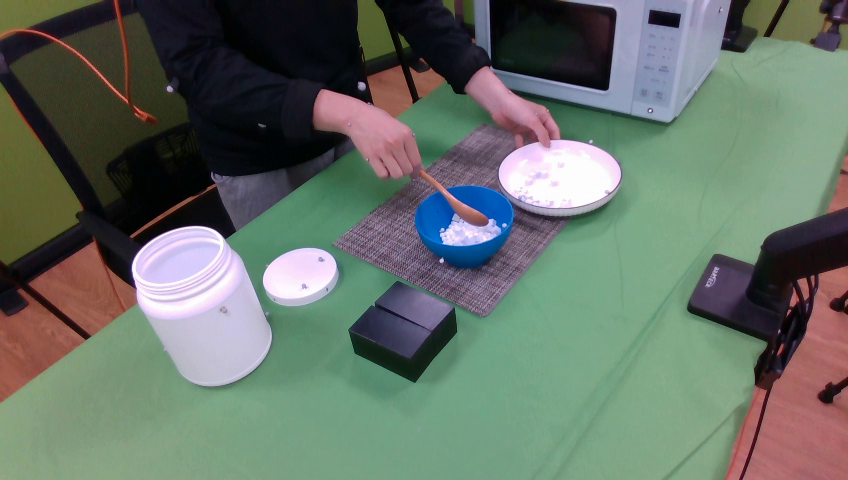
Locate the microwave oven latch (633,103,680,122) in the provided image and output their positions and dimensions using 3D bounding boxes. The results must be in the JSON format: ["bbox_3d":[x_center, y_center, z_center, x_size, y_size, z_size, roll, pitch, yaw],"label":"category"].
[{"bbox_3d":[0.443,-0.249,1.157,0.078,0.029,0.030,21,48,30],"label":"microwave oven latch"}]

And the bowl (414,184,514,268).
[{"bbox_3d":[0.063,-0.010,0.922,0.151,0.077,0.150,-4,40,4],"label":"bowl"}]

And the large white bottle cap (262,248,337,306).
[{"bbox_3d":[-0.193,0.056,0.934,0.115,0.018,0.114,-4,41,4],"label":"large white bottle cap"}]

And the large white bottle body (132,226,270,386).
[{"bbox_3d":[-0.286,0.085,0.783,0.130,0.185,0.130,-4,41,4],"label":"large white bottle body"}]

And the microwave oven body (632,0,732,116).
[{"bbox_3d":[0.377,-0.463,1.267,0.438,0.261,0.327,21,49,30],"label":"microwave oven body"}]

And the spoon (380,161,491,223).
[{"bbox_3d":[0.014,-0.073,0.904,0.193,0.042,0.021,34,92,15],"label":"spoon"}]

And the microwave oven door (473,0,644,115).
[{"bbox_3d":[0.257,-0.396,1.199,0.353,0.245,0.039,21,48,29],"label":"microwave oven door"}]

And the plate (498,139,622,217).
[{"bbox_3d":[0.230,-0.103,1.038,0.209,0.038,0.208,-4,41,4],"label":"plate"}]
